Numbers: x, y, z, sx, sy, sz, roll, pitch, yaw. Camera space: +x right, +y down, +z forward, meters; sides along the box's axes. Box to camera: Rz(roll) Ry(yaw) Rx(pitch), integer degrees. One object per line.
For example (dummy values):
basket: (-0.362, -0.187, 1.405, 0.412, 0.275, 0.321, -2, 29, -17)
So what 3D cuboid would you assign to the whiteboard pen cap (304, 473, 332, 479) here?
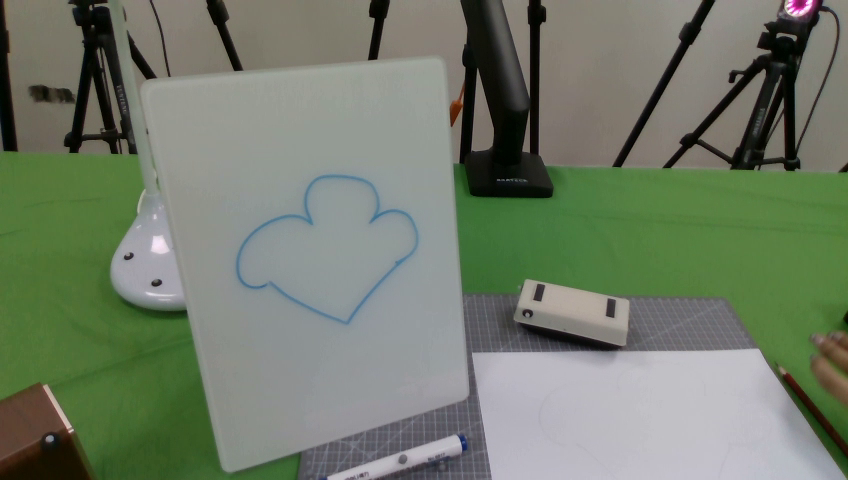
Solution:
whiteboard pen cap: (-0.086, 0.189, 0.458, 0.033, 0.018, 0.018, -12, 38, -19)

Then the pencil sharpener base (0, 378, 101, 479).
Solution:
pencil sharpener base: (-0.271, 0.162, 0.411, 0.077, 0.108, 0.061, -27, 46, -35)

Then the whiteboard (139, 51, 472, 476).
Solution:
whiteboard: (-0.094, 0.004, 0.530, 0.218, 0.307, 0.142, -12, 18, -19)

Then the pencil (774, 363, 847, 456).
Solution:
pencil: (0.367, 0.177, 0.533, 0.012, 0.012, 0.192, -2, 34, -8)

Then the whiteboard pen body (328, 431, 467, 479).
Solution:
whiteboard pen body: (-0.031, 0.177, 0.478, 0.141, 0.017, 0.017, -12, 38, -19)

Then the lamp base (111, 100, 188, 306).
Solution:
lamp base: (-0.271, -0.048, 0.646, 0.177, 0.182, 0.160, 25, 41, 32)

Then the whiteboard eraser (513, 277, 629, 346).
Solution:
whiteboard eraser: (0.152, 0.075, 0.626, 0.112, 0.042, 0.055, 12, 36, 12)
